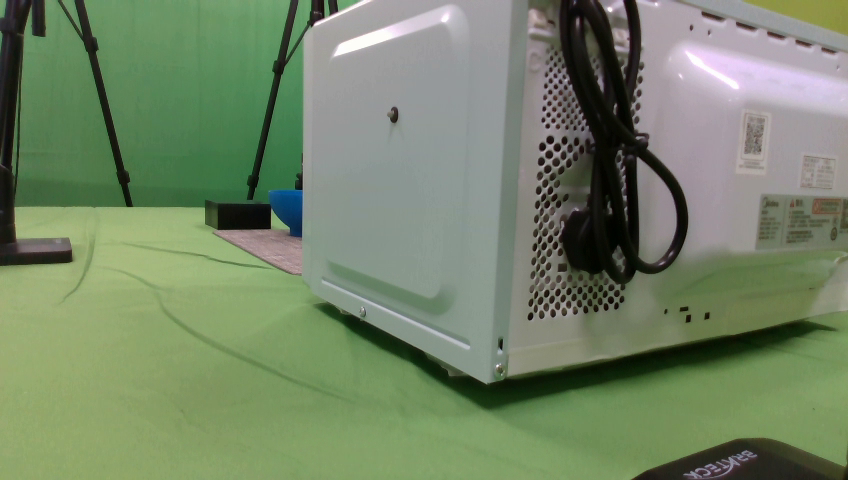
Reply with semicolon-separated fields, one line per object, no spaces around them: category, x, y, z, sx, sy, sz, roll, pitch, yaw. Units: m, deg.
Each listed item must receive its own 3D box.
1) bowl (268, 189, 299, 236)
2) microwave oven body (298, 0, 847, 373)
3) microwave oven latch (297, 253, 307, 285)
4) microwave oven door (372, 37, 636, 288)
bowl;-0.205;-0.049;1.090;0.151;0.077;0.151;3;7;0
microwave oven body;0.151;-0.055;0.543;0.444;0.260;0.324;-1;7;-33
microwave oven latch;-0.082;0.027;0.582;0.079;0.029;0.030;-1;7;-32
microwave oven door;0.109;-0.080;0.686;0.358;0.243;0.039;-2;9;-33
